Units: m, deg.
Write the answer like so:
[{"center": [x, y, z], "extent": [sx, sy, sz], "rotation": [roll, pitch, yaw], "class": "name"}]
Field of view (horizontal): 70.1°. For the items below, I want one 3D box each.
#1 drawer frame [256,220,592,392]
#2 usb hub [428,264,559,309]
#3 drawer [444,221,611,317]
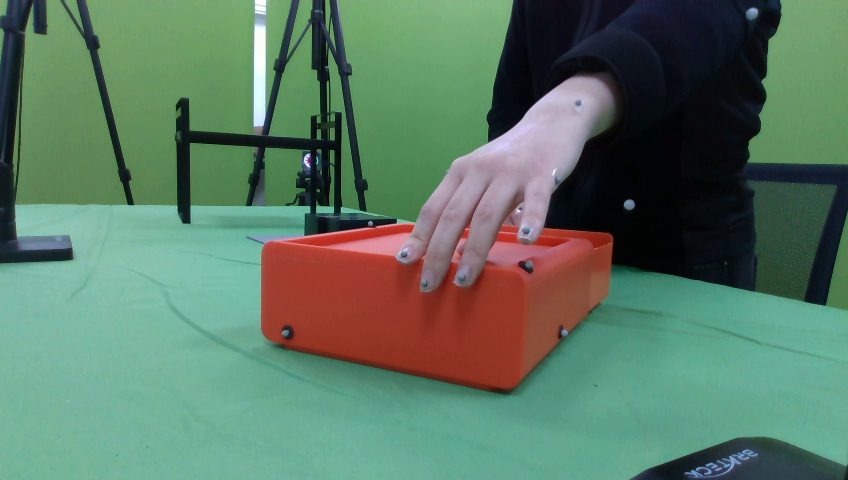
[{"center": [0.014, 0.036, 0.490], "extent": [0.201, 0.082, 0.214], "rotation": [6, 9, 25], "class": "drawer frame"}, {"center": [0.070, 0.045, 0.613], "extent": [0.124, 0.025, 0.050], "rotation": [6, 10, 29], "class": "usb hub"}, {"center": [0.059, 0.030, 0.581], "extent": [0.194, 0.073, 0.212], "rotation": [7, 9, 27], "class": "drawer"}]
